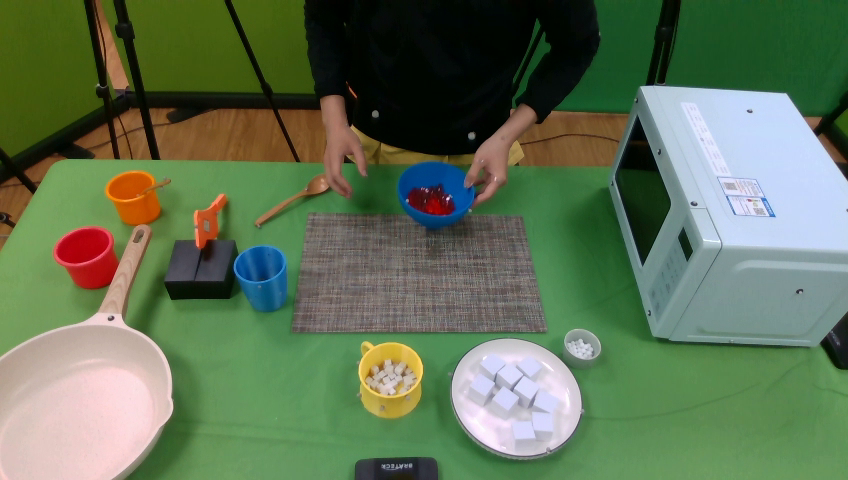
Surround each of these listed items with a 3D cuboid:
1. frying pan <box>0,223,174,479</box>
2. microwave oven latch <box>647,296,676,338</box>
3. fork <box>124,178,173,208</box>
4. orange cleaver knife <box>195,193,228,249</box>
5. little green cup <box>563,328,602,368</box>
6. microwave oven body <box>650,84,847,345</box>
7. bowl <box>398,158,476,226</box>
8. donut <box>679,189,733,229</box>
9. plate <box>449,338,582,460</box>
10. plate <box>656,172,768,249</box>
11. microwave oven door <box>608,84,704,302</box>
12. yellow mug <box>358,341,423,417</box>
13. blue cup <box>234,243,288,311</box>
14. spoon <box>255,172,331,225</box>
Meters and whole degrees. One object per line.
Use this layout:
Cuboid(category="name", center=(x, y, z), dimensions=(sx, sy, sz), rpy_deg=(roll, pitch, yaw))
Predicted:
Cuboid(category="frying pan", center=(-0.504, 0.169, 0.941), dimensions=(0.307, 0.103, 0.485), rpy_deg=(5, 54, -1))
Cuboid(category="microwave oven latch", center=(0.413, 0.133, 1.060), dimensions=(0.030, 0.029, 0.078), rpy_deg=(4, 46, 1))
Cuboid(category="fork", center=(-0.525, -0.090, 1.153), dimensions=(0.207, 0.019, 0.028), rpy_deg=(-18, 27, 45))
Cuboid(category="orange cleaver knife", center=(-0.406, -0.041, 1.163), dimensions=(0.012, 0.077, 0.210), rpy_deg=(0, 18, -3))
Cuboid(category="little green cup", center=(0.265, 0.184, 1.025), dimensions=(0.061, 0.039, 0.061), rpy_deg=(1, 46, -1))
Cuboid(category="microwave oven body", center=(0.569, -0.054, 1.115), dimensions=(0.326, 0.261, 0.439), rpy_deg=(2, 46, -1))
Cuboid(category="bowl", center=(0.022, -0.081, 1.184), dimensions=(0.151, 0.077, 0.150), rpy_deg=(4, 50, -4))
Cuboid(category="donut", center=(0.544, -0.062, 1.174), dimensions=(0.099, 0.048, 0.098), rpy_deg=(1, 42, -1))
Cuboid(category="plate", center=(0.141, 0.251, 0.955), dimensions=(0.208, 0.039, 0.206), rpy_deg=(2, 46, -2))
Cuboid(category="plate", center=(0.557, -0.054, 1.186), dimensions=(0.209, 0.038, 0.208), rpy_deg=(1, 44, -1))
Cuboid(category="microwave oven door", center=(0.424, -0.096, 1.138), dimensions=(0.039, 0.245, 0.353), rpy_deg=(2, 47, -1))
Cuboid(category="yellow mug", center=(-0.062, 0.210, 0.961), dimensions=(0.100, 0.064, 0.130), rpy_deg=(-29, 54, -27))
Cuboid(category="blue cup", center=(-0.276, 0.072, 1.052), dimensions=(0.093, 0.101, 0.092), rpy_deg=(1, 48, -1))
Cuboid(category="spoon", center=(-0.272, -0.087, 1.256), dimensions=(0.041, 0.022, 0.193), rpy_deg=(43, 57, 16))
